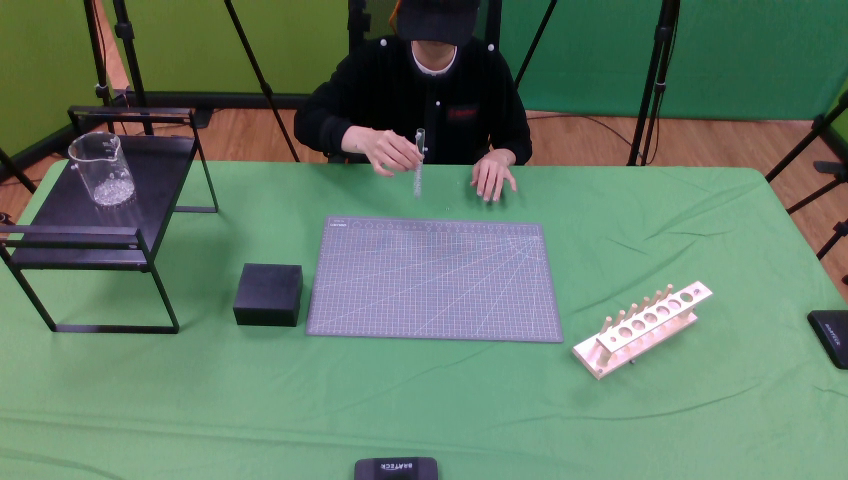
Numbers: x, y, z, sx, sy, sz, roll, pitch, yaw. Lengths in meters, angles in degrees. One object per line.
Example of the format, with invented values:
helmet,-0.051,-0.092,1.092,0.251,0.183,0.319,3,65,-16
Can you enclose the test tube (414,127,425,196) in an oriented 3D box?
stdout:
test tube,-0.009,-0.142,1.124,0.017,0.151,0.017,2,42,-2

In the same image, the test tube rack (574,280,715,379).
test tube rack,0.378,0.140,1.038,0.242,0.085,0.066,-23,51,-23

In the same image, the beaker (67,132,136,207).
beaker,-0.504,-0.109,0.961,0.083,0.101,0.074,25,50,19
